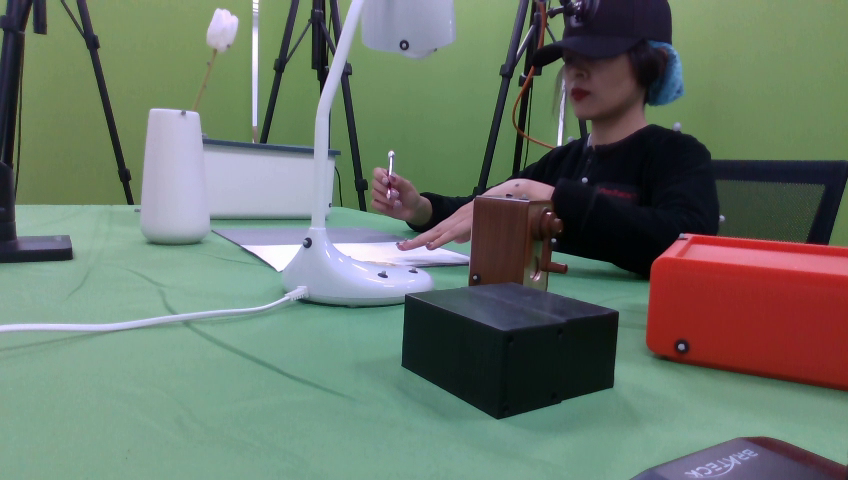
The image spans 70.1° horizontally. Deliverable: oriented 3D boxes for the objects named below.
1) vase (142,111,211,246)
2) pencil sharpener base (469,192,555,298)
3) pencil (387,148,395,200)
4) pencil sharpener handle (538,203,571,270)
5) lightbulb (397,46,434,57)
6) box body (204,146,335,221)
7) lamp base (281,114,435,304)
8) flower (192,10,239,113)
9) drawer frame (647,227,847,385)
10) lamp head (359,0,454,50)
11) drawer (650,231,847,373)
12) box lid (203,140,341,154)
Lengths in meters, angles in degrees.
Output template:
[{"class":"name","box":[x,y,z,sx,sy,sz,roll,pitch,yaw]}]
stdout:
[{"class":"vase","box":[-0.378,-0.093,0.920,0.098,0.200,0.098,2,9,0]},{"class":"pencil sharpener base","box":[0.097,0.003,0.652,0.076,0.107,0.061,8,9,38]},{"class":"pencil","box":[-0.061,-0.121,1.088,0.012,0.012,0.193,2,33,-2]},{"class":"pencil sharpener handle","box":[0.137,-0.003,0.619,0.030,0.067,0.036,8,7,38]},{"class":"lightbulb","box":[-0.017,-0.264,0.692,0.059,0.108,0.059,-9,28,5]},{"class":"box body","box":[-0.410,-0.135,1.386,0.366,0.160,0.253,-2,9,-29]},{"class":"lamp base","box":[-0.071,-0.034,0.614,0.160,0.180,0.180,5,10,27]},{"class":"flower","box":[-0.354,-0.174,0.915,0.038,0.361,0.044,18,-3,12]},{"class":"drawer frame","box":[0.303,0.043,0.495,0.201,0.082,0.214,6,9,26]},{"class":"lamp head","box":[-0.024,-0.282,0.674,0.112,0.123,0.112,-3,38,3]},{"class":"drawer","box":[0.303,0.044,0.499,0.194,0.073,0.212,7,9,27]},{"class":"box lid","box":[-0.396,-0.212,1.373,0.373,0.015,0.262,-1,9,-29]}]
